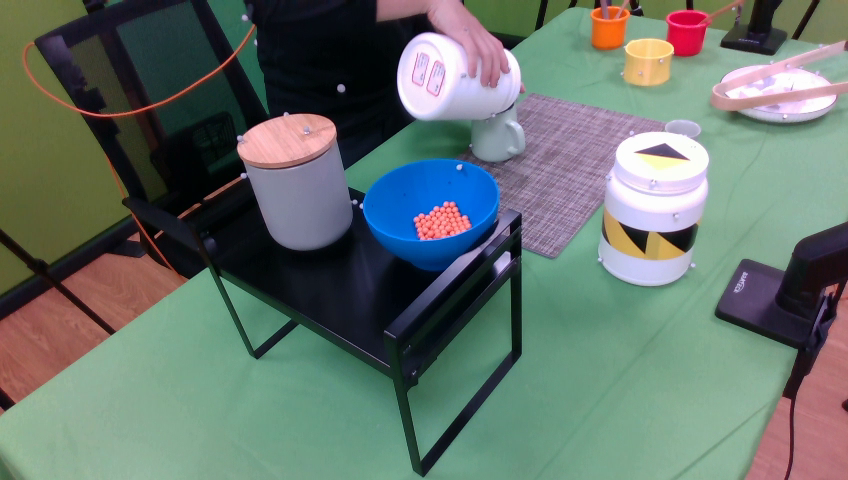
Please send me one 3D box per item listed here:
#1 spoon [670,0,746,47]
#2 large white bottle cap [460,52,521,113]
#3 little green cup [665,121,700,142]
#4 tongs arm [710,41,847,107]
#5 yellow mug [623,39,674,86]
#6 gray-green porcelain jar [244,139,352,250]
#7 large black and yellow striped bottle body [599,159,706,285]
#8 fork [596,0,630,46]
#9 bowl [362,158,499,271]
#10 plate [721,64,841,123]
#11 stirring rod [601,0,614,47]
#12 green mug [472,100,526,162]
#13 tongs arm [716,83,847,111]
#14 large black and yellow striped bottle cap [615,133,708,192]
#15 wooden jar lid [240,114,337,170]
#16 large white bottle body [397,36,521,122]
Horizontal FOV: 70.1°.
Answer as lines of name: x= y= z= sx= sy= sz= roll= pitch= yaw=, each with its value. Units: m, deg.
spoon: x=0.629 y=-0.484 z=1.350 sx=0.022 sy=0.193 sz=0.042 roll=48 pitch=54 yaw=-7
large white bottle cap: x=0.125 y=-0.294 z=1.136 sx=0.115 sy=0.115 sz=0.018 roll=-2 pitch=35 yaw=6
little green cup: x=0.472 y=-0.188 z=1.113 sx=0.061 sy=0.039 sz=0.061 roll=-5 pitch=40 yaw=5
tongs arm: x=0.712 y=-0.332 z=1.194 sx=0.386 sy=0.026 sz=0.050 roll=-18 pitch=45 yaw=-16
yellow mug: x=0.485 y=-0.398 z=1.334 sx=0.100 sy=0.064 sz=0.130 roll=-18 pitch=41 yaw=-10
gray-green porcelain jar: x=-0.144 y=-0.060 z=0.714 sx=0.106 sy=0.127 sz=0.105 roll=-4 pitch=41 yaw=4
large black and yellow striped bottle body: x=0.320 y=-0.042 z=0.854 sx=0.131 sy=0.185 sz=0.130 roll=-4 pitch=41 yaw=4
fork: x=0.481 y=-0.556 z=1.453 sx=0.028 sy=0.019 sz=0.207 roll=40 pitch=103 yaw=38
bowl: x=0.011 y=-0.019 z=0.679 sx=0.151 sy=0.077 sz=0.150 roll=-5 pitch=41 yaw=4
plate: x=0.695 y=-0.282 z=1.189 sx=0.207 sy=0.039 sz=0.206 roll=-4 pitch=40 yaw=4
stirring rod: x=0.439 y=-0.552 z=1.463 sx=0.014 sy=0.006 sz=0.175 roll=-7 pitch=83 yaw=2
green mug: x=0.144 y=-0.202 z=1.122 sx=0.093 sy=0.105 sz=0.124 roll=-29 pitch=45 yaw=-23
tongs arm: x=0.738 y=-0.282 z=1.134 sx=0.388 sy=0.028 sz=0.028 roll=-9 pitch=47 yaw=-5
large black and yellow striped bottle cap: x=0.312 y=-0.105 z=0.798 sx=0.115 sy=0.019 sz=0.114 roll=-5 pitch=41 yaw=5
wooden jar lid: x=-0.149 y=-0.106 z=0.673 sx=0.108 sy=0.021 sz=0.108 roll=-6 pitch=38 yaw=5
large white bottle body: x=0.063 y=-0.265 z=1.003 sx=0.186 sy=0.130 sz=0.129 roll=-13 pitch=35 yaw=-41
